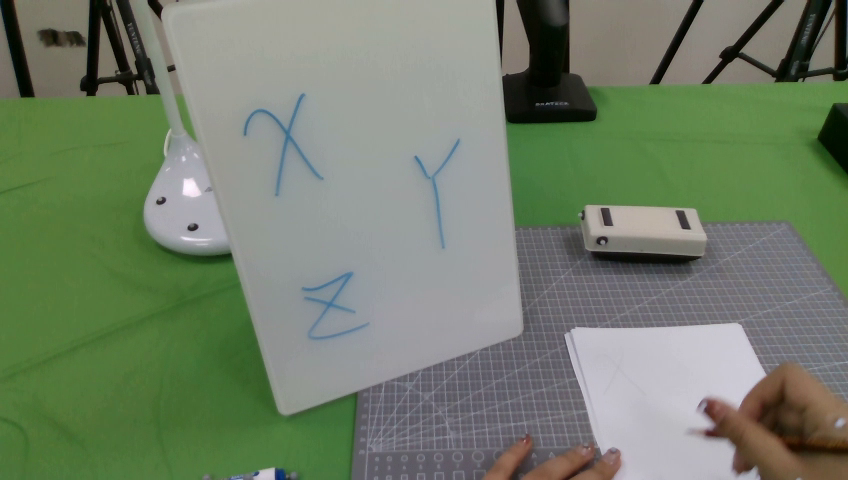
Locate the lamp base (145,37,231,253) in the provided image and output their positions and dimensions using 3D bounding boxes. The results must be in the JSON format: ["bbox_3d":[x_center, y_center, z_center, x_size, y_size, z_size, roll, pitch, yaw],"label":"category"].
[{"bbox_3d":[-0.229,-0.104,0.615,0.177,0.182,0.160,27,48,31],"label":"lamp base"}]

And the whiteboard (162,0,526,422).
[{"bbox_3d":[-0.054,-0.047,0.499,0.218,0.307,0.142,-15,24,-15],"label":"whiteboard"}]

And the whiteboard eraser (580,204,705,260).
[{"bbox_3d":[0.216,-0.007,0.605,0.112,0.042,0.055,3,42,4],"label":"whiteboard eraser"}]

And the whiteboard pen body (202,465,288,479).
[{"bbox_3d":[-0.166,0.177,0.421,0.141,0.017,0.017,-8,42,-8],"label":"whiteboard pen body"}]

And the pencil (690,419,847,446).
[{"bbox_3d":[0.230,0.111,0.341,0.012,0.193,0.012,5,77,-25],"label":"pencil"}]
